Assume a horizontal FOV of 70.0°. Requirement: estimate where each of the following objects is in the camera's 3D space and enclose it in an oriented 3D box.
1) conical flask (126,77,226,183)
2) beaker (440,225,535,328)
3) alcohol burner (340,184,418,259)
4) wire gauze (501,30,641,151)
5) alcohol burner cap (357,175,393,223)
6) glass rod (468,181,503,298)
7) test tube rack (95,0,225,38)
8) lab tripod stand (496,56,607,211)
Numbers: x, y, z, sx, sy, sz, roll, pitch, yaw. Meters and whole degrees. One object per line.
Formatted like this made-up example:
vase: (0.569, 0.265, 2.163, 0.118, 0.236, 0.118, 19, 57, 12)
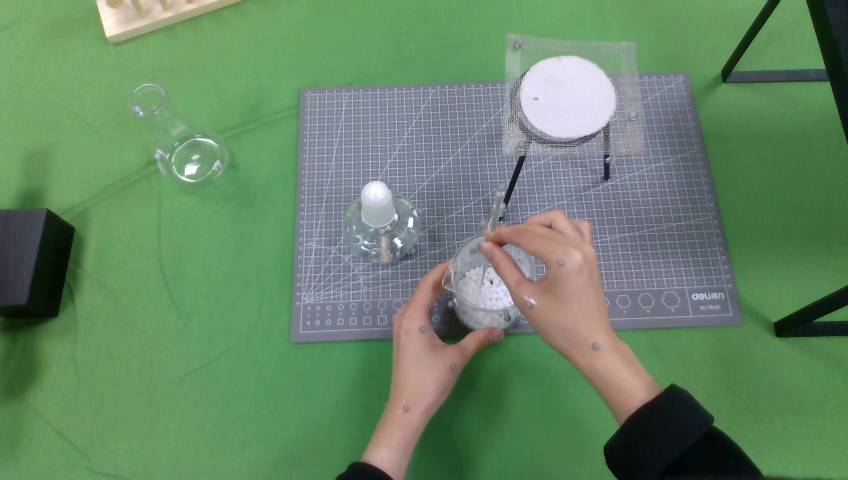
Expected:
conical flask: (-0.259, -0.116, 0.621, 0.075, 0.122, 0.075, 0, 69, 1)
beaker: (0.057, 0.040, 0.568, 0.084, 0.101, 0.073, -12, 69, -3)
alcohol burner: (-0.044, -0.026, 0.586, 0.078, 0.120, 0.077, 0, 68, 0)
wire gauze: (0.130, -0.135, 0.540, 0.121, 0.011, 0.124, 3, 70, 1)
alcohol burner cap: (-0.046, -0.041, 0.553, 0.034, 0.048, 0.033, 1, 63, -2)
glass rod: (0.050, 0.008, 0.508, 0.008, 0.201, 0.008, 1, 62, -1)
test tube rack: (-0.283, -0.331, 0.719, 0.242, 0.086, 0.066, -21, 71, -7)
lab tripod stand: (0.124, -0.107, 0.602, 0.148, 0.132, 0.147, 0, 68, 0)
